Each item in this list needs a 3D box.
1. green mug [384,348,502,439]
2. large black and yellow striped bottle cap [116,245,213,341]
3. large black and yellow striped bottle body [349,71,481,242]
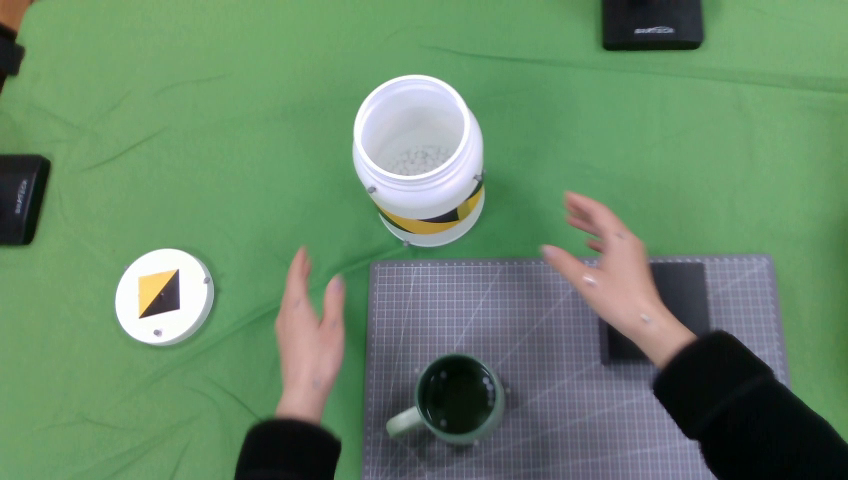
[{"bbox_3d":[0.018,0.161,0.612,0.125,0.105,0.092,-26,73,-2],"label":"green mug"},{"bbox_3d":[-0.311,0.062,0.724,0.115,0.019,0.114,-2,73,6],"label":"large black and yellow striped bottle cap"},{"bbox_3d":[-0.006,-0.084,0.647,0.130,0.185,0.130,-2,73,6],"label":"large black and yellow striped bottle body"}]
